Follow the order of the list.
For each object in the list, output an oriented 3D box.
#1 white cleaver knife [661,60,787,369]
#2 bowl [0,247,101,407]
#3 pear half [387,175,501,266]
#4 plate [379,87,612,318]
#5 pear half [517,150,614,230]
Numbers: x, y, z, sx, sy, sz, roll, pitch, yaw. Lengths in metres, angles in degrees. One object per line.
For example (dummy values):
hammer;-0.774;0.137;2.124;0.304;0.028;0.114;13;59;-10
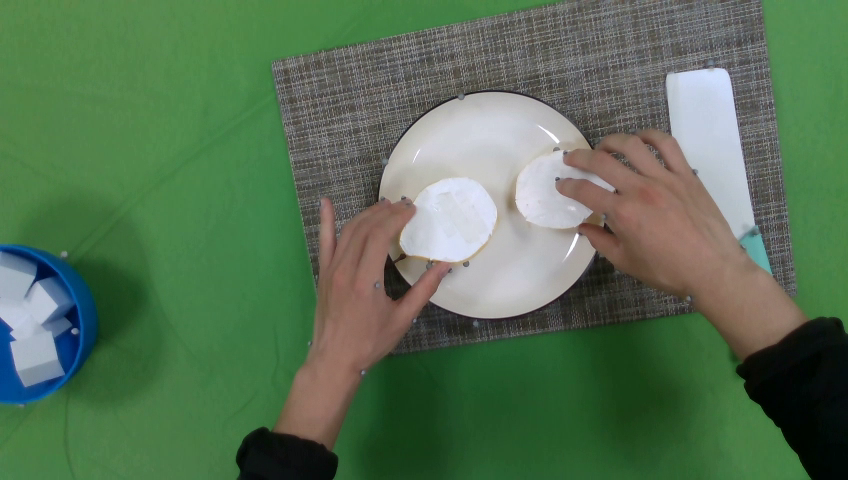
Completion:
white cleaver knife;0.273;-0.021;0.555;0.066;0.021;0.286;-13;91;14
bowl;-0.376;0.077;0.590;0.151;0.077;0.151;0;96;5
pear half;0.011;-0.009;0.544;0.110;0.056;0.076;-31;86;-6
plate;0.064;-0.033;0.558;0.207;0.039;0.208;0;96;5
pear half;0.129;-0.046;0.548;0.087;0.031;0.070;-3;98;26
